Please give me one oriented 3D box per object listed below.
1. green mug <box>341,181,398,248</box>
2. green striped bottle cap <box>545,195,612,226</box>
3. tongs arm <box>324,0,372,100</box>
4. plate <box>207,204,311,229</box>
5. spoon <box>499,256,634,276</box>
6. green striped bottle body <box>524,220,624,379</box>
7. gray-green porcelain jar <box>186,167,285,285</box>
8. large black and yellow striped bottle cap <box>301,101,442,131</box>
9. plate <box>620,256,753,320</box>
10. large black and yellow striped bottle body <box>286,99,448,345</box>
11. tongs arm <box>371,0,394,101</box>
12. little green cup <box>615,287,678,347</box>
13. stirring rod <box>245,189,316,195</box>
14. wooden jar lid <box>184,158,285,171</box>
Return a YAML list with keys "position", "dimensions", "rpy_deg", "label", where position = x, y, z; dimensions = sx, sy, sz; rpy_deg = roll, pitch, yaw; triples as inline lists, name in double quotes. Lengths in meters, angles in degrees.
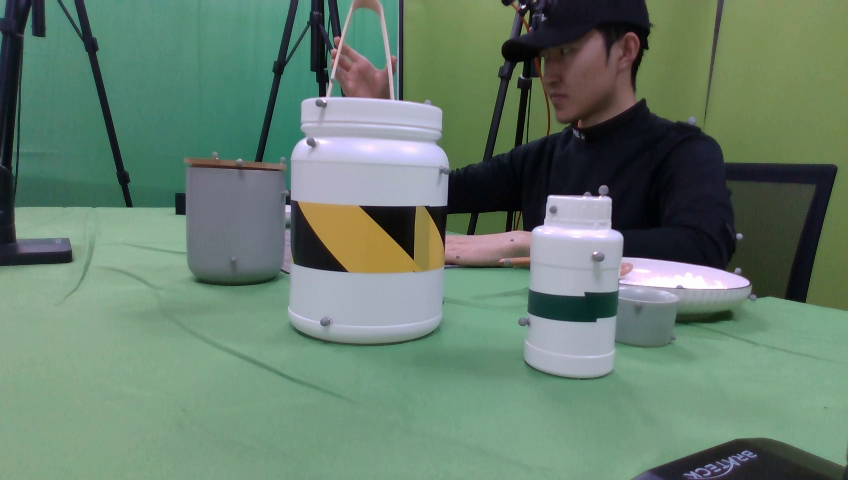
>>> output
- position: [-0.090, -0.044, 0.997]
  dimensions: [0.093, 0.105, 0.125]
  rpy_deg: [1, 7, -8]
  label: "green mug"
- position: [0.106, -0.020, 0.414]
  dimensions: [0.044, 0.020, 0.044]
  rpy_deg: [2, 4, 0]
  label: "green striped bottle cap"
- position: [-0.145, -0.338, 1.138]
  dimensions: [0.051, 0.384, 0.026]
  rpy_deg: [9, -35, -7]
  label: "tongs arm"
- position: [-0.342, -0.050, 1.259]
  dimensions: [0.208, 0.039, 0.207]
  rpy_deg: [2, 7, 0]
  label: "plate"
- position: [0.162, 0.027, 0.679]
  dimensions: [0.195, 0.021, 0.041]
  rpy_deg: [8, 2, -30]
  label: "spoon"
- position: [0.104, 0.031, 0.422]
  dimensions: [0.063, 0.119, 0.063]
  rpy_deg: [2, 7, 0]
  label: "green striped bottle body"
- position: [-0.212, -0.017, 0.682]
  dimensions: [0.106, 0.126, 0.106]
  rpy_deg: [2, 7, 0]
  label: "gray-green porcelain jar"
- position: [-0.042, -0.100, 0.491]
  dimensions: [0.115, 0.019, 0.115]
  rpy_deg: [1, 8, 0]
  label: "large black and yellow striped bottle cap"
- position: [0.234, 0.049, 0.651]
  dimensions: [0.209, 0.038, 0.209]
  rpy_deg: [2, 7, 0]
  label: "plate"
- position: [-0.047, -0.018, 0.501]
  dimensions: [0.131, 0.184, 0.130]
  rpy_deg: [2, 7, 0]
  label: "large black and yellow striped bottle body"
- position: [-0.075, -0.329, 1.151]
  dimensions: [0.028, 0.386, 0.028]
  rpy_deg: [-1, -33, -9]
  label: "tongs arm"
- position: [0.180, 0.064, 0.506]
  dimensions: [0.061, 0.038, 0.061]
  rpy_deg: [1, 8, 0]
  label: "little green cup"
- position: [-0.351, -0.119, 1.489]
  dimensions: [0.177, 0.014, 0.006]
  rpy_deg: [-2, 6, -29]
  label: "stirring rod"
- position: [-0.210, -0.078, 0.674]
  dimensions: [0.108, 0.020, 0.108]
  rpy_deg: [5, 6, 0]
  label: "wooden jar lid"
